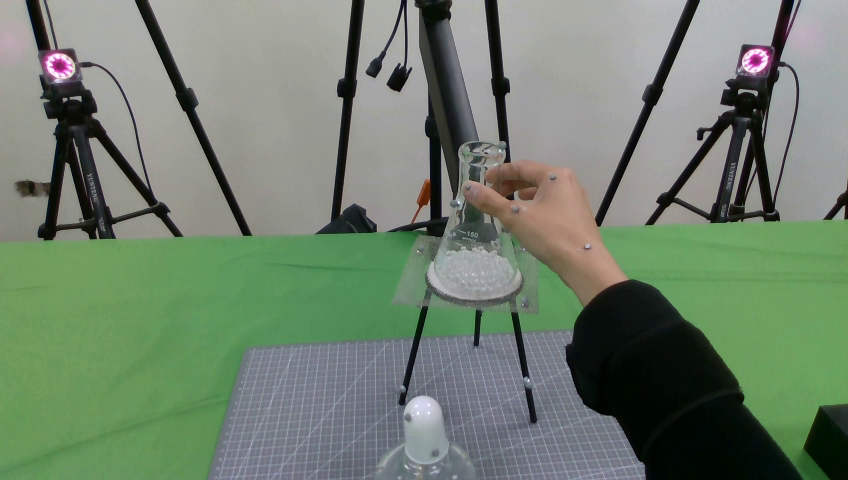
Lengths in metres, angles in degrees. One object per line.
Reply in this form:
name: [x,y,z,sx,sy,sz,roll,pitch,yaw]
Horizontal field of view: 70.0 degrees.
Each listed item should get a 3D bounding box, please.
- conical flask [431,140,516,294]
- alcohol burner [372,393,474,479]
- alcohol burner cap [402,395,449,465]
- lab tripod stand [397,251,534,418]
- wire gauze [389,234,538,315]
conical flask: [0.044,-0.021,0.512,0.075,0.123,0.074,1,29,0]
alcohol burner: [-0.001,0.164,0.451,0.078,0.120,0.077,0,26,0]
alcohol burner cap: [0.000,0.133,0.433,0.034,0.048,0.033,-5,31,3]
lab tripod stand: [0.047,0.088,0.575,0.148,0.132,0.147,2,27,-1]
wire gauze: [0.041,0.030,0.544,0.121,0.011,0.124,5,30,8]
